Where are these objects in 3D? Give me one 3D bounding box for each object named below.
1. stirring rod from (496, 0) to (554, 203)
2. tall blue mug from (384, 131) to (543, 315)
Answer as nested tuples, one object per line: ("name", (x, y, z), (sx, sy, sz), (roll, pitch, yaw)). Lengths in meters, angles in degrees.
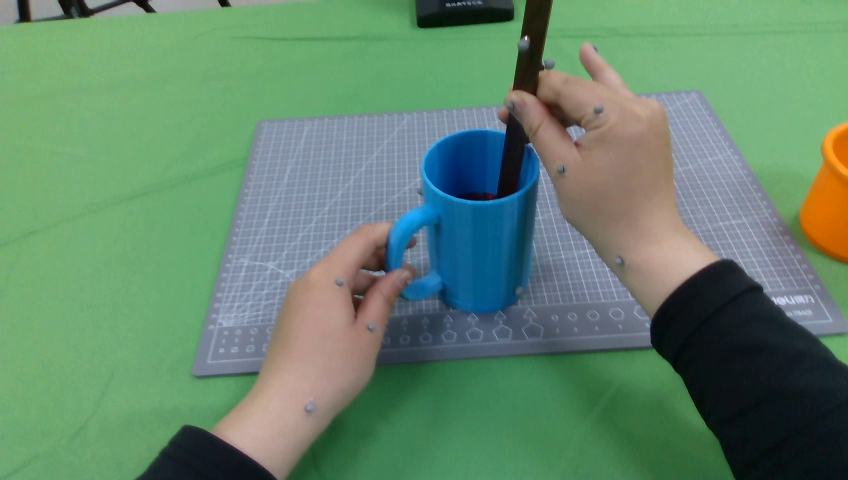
("stirring rod", (0.058, -0.071, 0.370), (0.014, 0.177, 0.006), (20, 55, 15))
("tall blue mug", (0.031, 0.000, 0.413), (0.077, 0.109, 0.107), (20, 51, 21))
